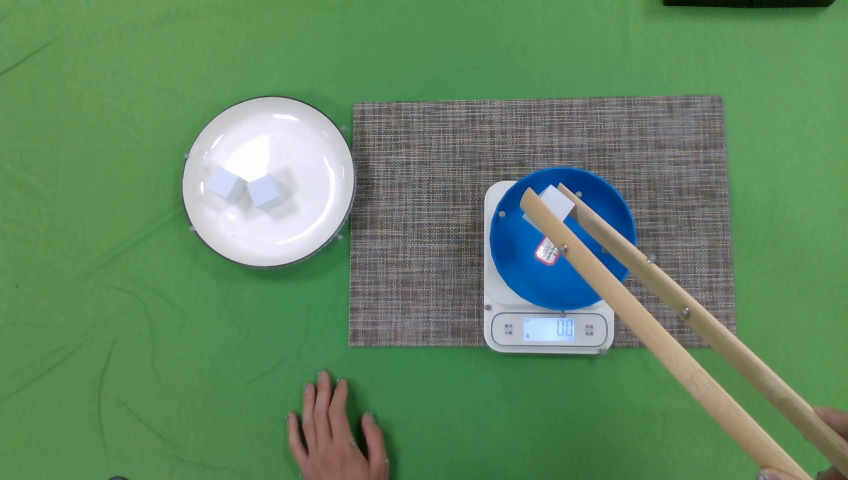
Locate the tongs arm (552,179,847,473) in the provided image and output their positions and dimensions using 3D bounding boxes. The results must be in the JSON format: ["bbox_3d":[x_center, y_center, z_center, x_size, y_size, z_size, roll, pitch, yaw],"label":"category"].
[{"bbox_3d":[0.222,0.078,0.491,0.051,0.027,0.381,-23,55,-31],"label":"tongs arm"}]

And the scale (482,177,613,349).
[{"bbox_3d":[0.142,0.026,0.702,0.148,0.031,0.200,0,83,3],"label":"scale"}]

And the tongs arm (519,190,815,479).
[{"bbox_3d":[0.199,0.086,0.478,0.028,0.028,0.383,-18,53,-32],"label":"tongs arm"}]

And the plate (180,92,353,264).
[{"bbox_3d":[-0.187,-0.073,0.731,0.207,0.039,0.207,0,83,3],"label":"plate"}]

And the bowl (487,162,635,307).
[{"bbox_3d":[0.140,-0.001,0.653,0.151,0.077,0.151,0,83,2],"label":"bowl"}]
